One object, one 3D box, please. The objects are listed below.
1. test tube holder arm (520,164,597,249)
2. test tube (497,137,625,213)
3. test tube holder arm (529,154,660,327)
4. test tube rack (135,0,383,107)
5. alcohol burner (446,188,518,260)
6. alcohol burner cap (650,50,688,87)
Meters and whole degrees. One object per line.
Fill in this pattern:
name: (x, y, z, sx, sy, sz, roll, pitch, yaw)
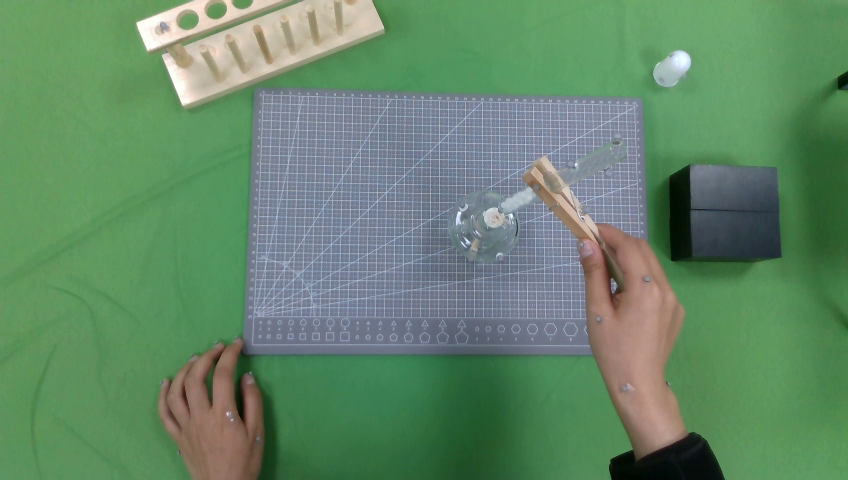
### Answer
test tube holder arm: (0.111, -0.026, 0.492, 0.088, 0.015, 0.010, 45, 65, -14)
test tube: (0.102, -0.047, 0.482, 0.017, 0.150, 0.017, 7, 74, -25)
test tube holder arm: (0.144, 0.003, 0.505, 0.013, 0.015, 0.179, -45, 103, -25)
test tube rack: (-0.169, -0.233, 0.656, 0.242, 0.085, 0.066, -23, 84, -6)
alcohol burner: (0.063, -0.019, 0.628, 0.078, 0.119, 0.077, 1, 83, -4)
alcohol burner cap: (0.288, -0.202, 0.705, 0.034, 0.048, 0.033, 0, 82, -2)
